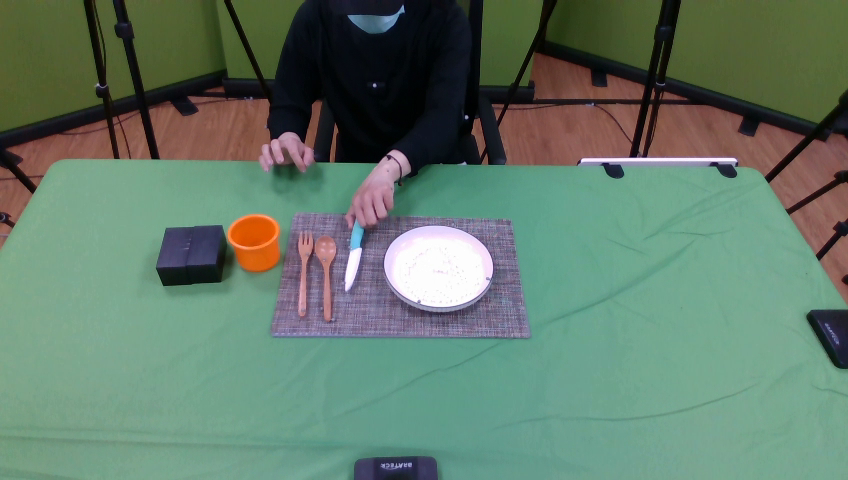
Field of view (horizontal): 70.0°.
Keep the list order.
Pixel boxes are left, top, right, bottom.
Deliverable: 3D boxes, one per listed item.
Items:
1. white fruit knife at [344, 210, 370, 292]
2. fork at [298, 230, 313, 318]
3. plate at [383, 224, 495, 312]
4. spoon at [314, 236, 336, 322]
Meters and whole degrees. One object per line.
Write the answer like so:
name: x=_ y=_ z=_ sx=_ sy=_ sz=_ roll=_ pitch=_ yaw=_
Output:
white fruit knife: x=-0.132 y=0.017 z=1.158 sx=0.027 sy=0.016 sz=0.206 roll=6 pitch=48 yaw=1
fork: x=-0.222 y=0.058 z=1.121 sx=0.028 sy=0.019 sz=0.206 roll=2 pitch=44 yaw=-10
plate: x=0.026 y=0.055 z=1.128 sx=0.209 sy=0.038 sz=0.208 roll=2 pitch=46 yaw=-2
spoon: x=-0.180 y=0.068 z=1.111 sx=0.042 sy=0.022 sz=0.192 roll=9 pitch=43 yaw=-20
